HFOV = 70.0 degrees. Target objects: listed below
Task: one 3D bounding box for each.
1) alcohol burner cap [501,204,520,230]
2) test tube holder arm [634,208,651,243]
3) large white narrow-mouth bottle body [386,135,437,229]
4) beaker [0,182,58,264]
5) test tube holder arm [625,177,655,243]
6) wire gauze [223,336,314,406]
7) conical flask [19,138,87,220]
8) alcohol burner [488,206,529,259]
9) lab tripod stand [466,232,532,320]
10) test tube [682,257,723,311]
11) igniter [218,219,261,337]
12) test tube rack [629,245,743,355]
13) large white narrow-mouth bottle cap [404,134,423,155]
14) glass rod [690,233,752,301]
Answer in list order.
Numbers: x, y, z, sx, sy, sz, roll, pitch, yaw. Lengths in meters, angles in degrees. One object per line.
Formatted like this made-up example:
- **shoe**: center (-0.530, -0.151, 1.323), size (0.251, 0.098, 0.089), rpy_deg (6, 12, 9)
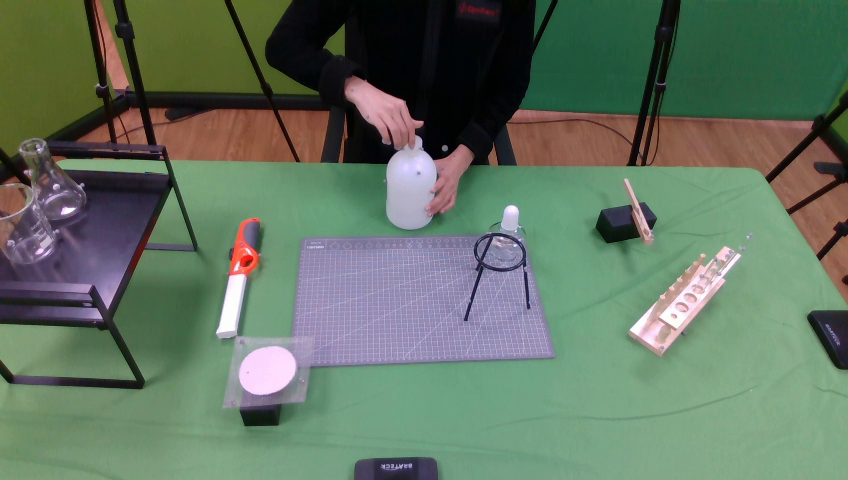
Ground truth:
- **alcohol burner cap**: center (0.164, -0.046, 1.133), size (0.034, 0.048, 0.033), rpy_deg (2, 40, -2)
- **test tube holder arm**: center (0.428, -0.030, 1.189), size (0.010, 0.015, 0.087), rpy_deg (1, 47, -2)
- **large white narrow-mouth bottle body**: center (-0.024, -0.119, 1.189), size (0.102, 0.195, 0.101), rpy_deg (2, 46, -2)
- **beaker**: center (-0.582, -0.019, 0.870), size (0.074, 0.101, 0.083), rpy_deg (5, 46, 1)
- **test tube holder arm**: center (0.433, -0.062, 1.220), size (0.013, 0.015, 0.177), rpy_deg (1, 47, -3)
- **wire gauze**: center (-0.237, 0.197, 0.931), size (0.121, 0.011, 0.124), rpy_deg (1, 45, -4)
- **conical flask**: center (-0.576, -0.097, 0.930), size (0.075, 0.122, 0.075), rpy_deg (2, 46, -2)
- **alcohol burner**: center (0.163, -0.020, 1.158), size (0.078, 0.120, 0.077), rpy_deg (1, 47, 0)
- **lab tripod stand**: center (0.125, 0.059, 1.065), size (0.148, 0.132, 0.147), rpy_deg (1, 45, 0)
- **test tube**: center (0.475, 0.080, 1.037), size (0.017, 0.151, 0.017), rpy_deg (1, 51, -1)
- **igniter**: center (-0.336, 0.060, 1.111), size (0.057, 0.025, 0.274), rpy_deg (-8, 46, 3)
- **test tube rack**: center (0.474, 0.095, 1.091), size (0.242, 0.085, 0.066), rpy_deg (-34, 56, -31)
- **large white narrow-mouth bottle cap**: center (-0.019, -0.178, 1.126), size (0.038, 0.024, 0.037), rpy_deg (2, 46, -2)
- **glass rod**: center (0.507, 0.053, 1.041), size (0.008, 0.200, 0.008), rpy_deg (5, 51, -6)
